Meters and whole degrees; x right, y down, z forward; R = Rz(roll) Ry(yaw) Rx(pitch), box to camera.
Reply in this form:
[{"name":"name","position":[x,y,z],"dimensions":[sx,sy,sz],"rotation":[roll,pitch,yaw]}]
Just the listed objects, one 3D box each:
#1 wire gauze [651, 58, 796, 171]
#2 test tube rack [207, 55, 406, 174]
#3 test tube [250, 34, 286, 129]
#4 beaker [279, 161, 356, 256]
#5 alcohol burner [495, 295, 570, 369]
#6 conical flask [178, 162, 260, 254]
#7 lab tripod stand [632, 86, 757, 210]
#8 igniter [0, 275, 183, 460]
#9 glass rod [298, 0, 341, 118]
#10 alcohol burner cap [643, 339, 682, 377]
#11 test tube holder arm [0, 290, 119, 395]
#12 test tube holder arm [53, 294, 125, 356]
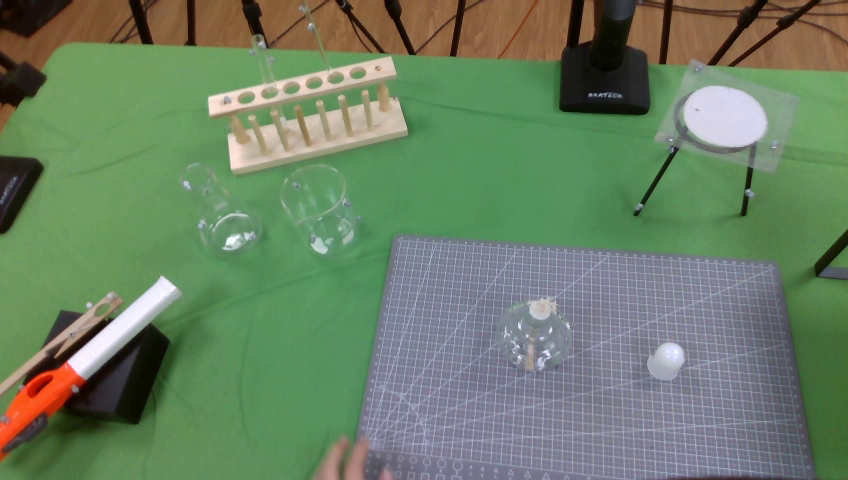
[{"name":"wire gauze","position":[0.321,-0.135,0.645],"dimensions":[0.121,0.011,0.124],"rotation":[24,65,16]},{"name":"test tube rack","position":[-0.153,-0.167,0.810],"dimensions":[0.242,0.086,0.066],"rotation":[-14,59,-4]},{"name":"test tube","position":[-0.197,-0.197,0.773],"dimensions":[0.017,0.151,0.017],"rotation":[0,56,0]},{"name":"beaker","position":[-0.124,-0.031,0.720],"dimensions":[0.073,0.101,0.083],"rotation":[18,63,15]},{"name":"alcohol burner","position":[0.112,0.087,0.618],"dimensions":[0.078,0.120,0.077],"rotation":[-1,58,2]},{"name":"conical flask","position":[-0.250,-0.042,0.723],"dimensions":[0.075,0.123,0.074],"rotation":[-2,59,4]},{"name":"lab tripod stand","position":[0.319,-0.099,0.703],"dimensions":[0.148,0.132,0.147],"rotation":[-1,58,2]},{"name":"igniter","position":[-0.368,0.141,0.624],"dimensions":[0.056,0.025,0.276],"rotation":[30,65,31]},{"name":"glass rod","position":[-0.130,-0.230,0.767],"dimensions":[0.008,0.202,0.008],"rotation":[-6,52,8]},{"name":"alcohol burner cap","position":[0.250,0.119,0.630],"dimensions":[0.034,0.048,0.033],"rotation":[-2,59,3]},{"name":"test tube holder arm","position":[-0.399,0.118,0.640],"dimensions":[0.178,0.015,0.013],"rotation":[-44,95,-19]},{"name":"test tube holder arm","position":[-0.364,0.092,0.655],"dimensions":[0.087,0.015,0.010],"rotation":[-43,95,-19]}]
